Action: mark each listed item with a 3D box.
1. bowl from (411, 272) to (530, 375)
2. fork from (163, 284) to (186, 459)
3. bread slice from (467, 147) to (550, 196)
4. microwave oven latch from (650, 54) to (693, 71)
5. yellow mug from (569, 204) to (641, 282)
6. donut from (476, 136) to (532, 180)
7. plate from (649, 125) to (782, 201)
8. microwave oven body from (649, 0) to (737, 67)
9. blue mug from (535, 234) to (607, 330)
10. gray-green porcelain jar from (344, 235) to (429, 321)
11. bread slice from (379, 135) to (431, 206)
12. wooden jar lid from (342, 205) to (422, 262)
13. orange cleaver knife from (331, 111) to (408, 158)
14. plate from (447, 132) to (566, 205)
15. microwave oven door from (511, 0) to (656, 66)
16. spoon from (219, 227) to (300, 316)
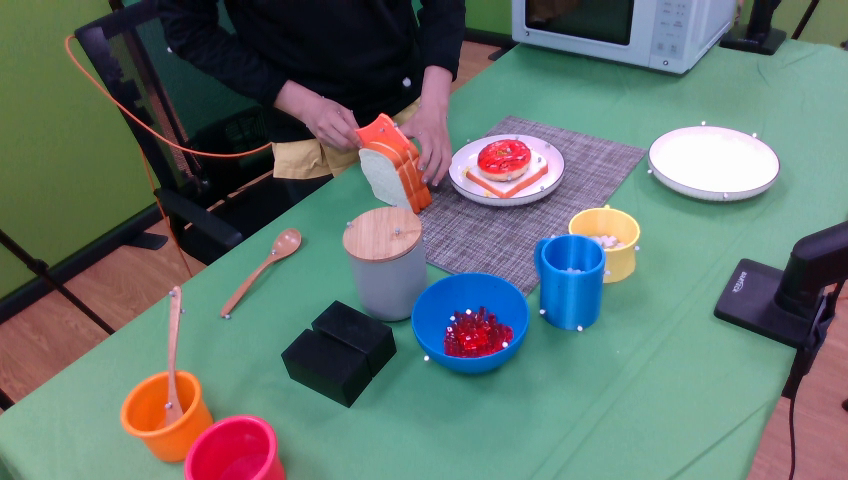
[{"bbox_3d":[0.061,0.120,0.780,0.151,0.077,0.150,-4,40,4],"label":"bowl"},{"bbox_3d":[-0.302,0.157,0.733,0.028,0.019,0.207,-3,84,15],"label":"fork"},{"bbox_3d":[0.157,-0.128,1.084,0.132,0.019,0.104,-35,49,-23],"label":"bread slice"},{"bbox_3d":[0.531,-0.386,1.301,0.078,0.029,0.030,26,51,33],"label":"microwave oven latch"},{"bbox_3d":[0.268,-0.005,0.904,0.099,0.064,0.130,7,41,15],"label":"yellow mug"},{"bbox_3d":[0.140,-0.146,1.059,0.099,0.048,0.098,-7,41,6],"label":"donut"},{"bbox_3d":[0.493,-0.127,1.036,0.207,0.039,0.206,-4,41,4],"label":"plate"},{"bbox_3d":[0.475,-0.602,1.411,0.438,0.261,0.327,23,50,32],"label":"microwave oven body"},{"bbox_3d":[0.191,0.048,0.824,0.082,0.106,0.115,-26,44,-20],"label":"blue mug"},{"bbox_3d":[-0.049,0.042,0.849,0.106,0.127,0.105,-4,41,4],"label":"gray-green porcelain jar"},{"bbox_3d":[-0.038,-0.126,1.039,0.106,0.135,0.018,29,55,32],"label":"bread slice"},{"bbox_3d":[-0.055,-0.005,0.808,0.108,0.021,0.108,-6,41,6],"label":"wooden jar lid"},{"bbox_3d":[-0.096,-0.174,1.036,0.012,0.077,0.209,-43,24,-26],"label":"orange cleaver knife"},{"bbox_3d":[0.146,-0.124,1.076,0.209,0.038,0.208,-4,41,4],"label":"plate"},{"bbox_3d":[0.351,-0.540,1.349,0.353,0.245,0.039,24,50,31],"label":"microwave oven door"},{"bbox_3d":[-0.261,0.046,0.954,0.041,0.021,0.194,27,48,10],"label":"spoon"}]
